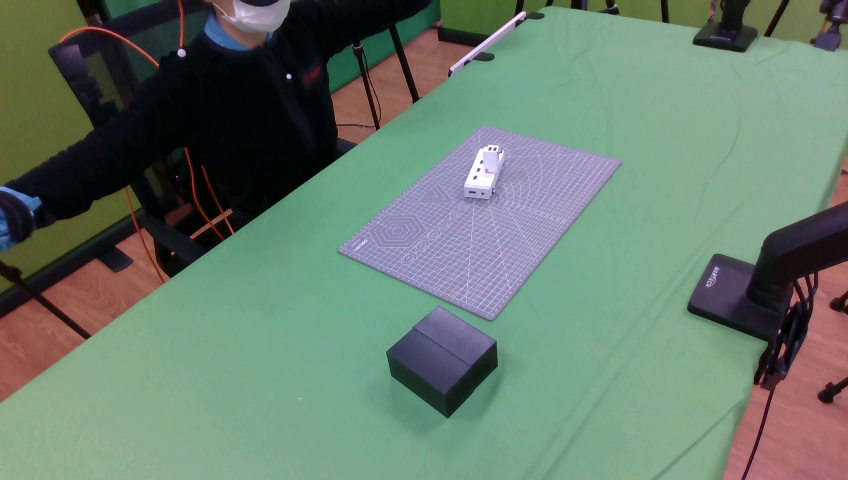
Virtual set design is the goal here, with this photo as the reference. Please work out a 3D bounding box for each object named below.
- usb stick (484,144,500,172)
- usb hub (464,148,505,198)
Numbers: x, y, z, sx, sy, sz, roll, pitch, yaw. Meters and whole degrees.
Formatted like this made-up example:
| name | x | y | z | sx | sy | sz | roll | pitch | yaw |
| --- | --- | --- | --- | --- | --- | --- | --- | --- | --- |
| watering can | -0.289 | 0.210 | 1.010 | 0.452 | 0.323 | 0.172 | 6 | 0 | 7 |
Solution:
| name | x | y | z | sx | sy | sz | roll | pitch | yaw |
| --- | --- | --- | --- | --- | --- | --- | --- | --- | --- |
| usb stick | 0.119 | -0.137 | 1.058 | 0.027 | 0.059 | 0.021 | 9 | 45 | 14 |
| usb hub | 0.110 | -0.121 | 1.087 | 0.049 | 0.025 | 0.125 | 8 | 43 | 16 |
